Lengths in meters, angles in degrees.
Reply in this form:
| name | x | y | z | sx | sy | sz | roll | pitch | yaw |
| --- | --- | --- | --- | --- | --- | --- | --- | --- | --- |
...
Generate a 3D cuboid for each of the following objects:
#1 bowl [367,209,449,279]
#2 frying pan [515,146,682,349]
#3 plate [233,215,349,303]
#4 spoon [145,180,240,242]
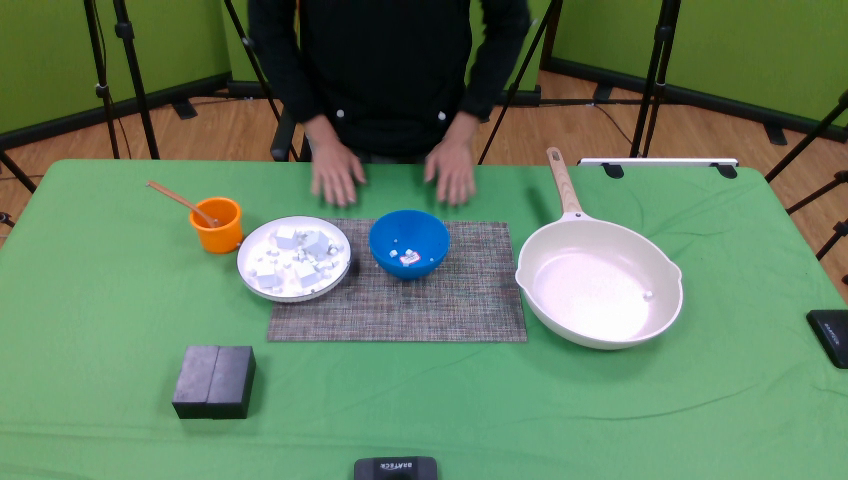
| name | x | y | z | sx | sy | sz | roll | pitch | yaw |
| --- | --- | --- | --- | --- | --- | --- | --- | --- | --- |
| bowl | -0.031 | 0.020 | 1.132 | 0.151 | 0.077 | 0.150 | 2 | 46 | -2 |
| frying pan | 0.302 | -0.004 | 1.168 | 0.307 | 0.103 | 0.484 | -1 | 55 | -7 |
| plate | -0.244 | 0.039 | 1.125 | 0.208 | 0.039 | 0.206 | 3 | 46 | -2 |
| spoon | -0.428 | -0.055 | 1.130 | 0.021 | 0.195 | 0.041 | -30 | 35 | 31 |
